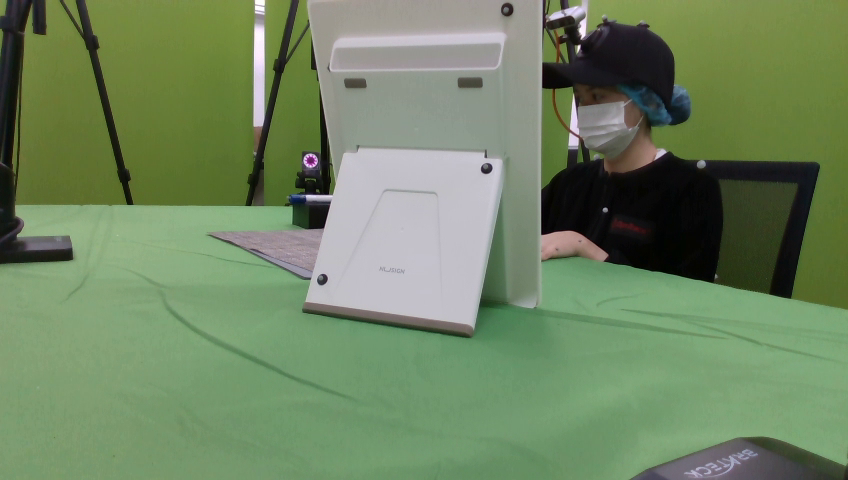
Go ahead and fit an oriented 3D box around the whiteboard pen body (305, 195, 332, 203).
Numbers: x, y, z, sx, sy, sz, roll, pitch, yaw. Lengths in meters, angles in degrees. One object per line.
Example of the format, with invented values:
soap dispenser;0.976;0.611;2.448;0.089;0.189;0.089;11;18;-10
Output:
whiteboard pen body;-0.201;-0.085;1.237;0.141;0.017;0.017;-2;9;-33

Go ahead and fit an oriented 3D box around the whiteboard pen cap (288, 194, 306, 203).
whiteboard pen cap;-0.253;-0.083;1.204;0.033;0.018;0.018;-4;10;-34

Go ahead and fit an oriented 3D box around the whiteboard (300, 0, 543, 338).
whiteboard;-0.020;-0.050;0.523;0.216;0.305;0.144;6;27;22
